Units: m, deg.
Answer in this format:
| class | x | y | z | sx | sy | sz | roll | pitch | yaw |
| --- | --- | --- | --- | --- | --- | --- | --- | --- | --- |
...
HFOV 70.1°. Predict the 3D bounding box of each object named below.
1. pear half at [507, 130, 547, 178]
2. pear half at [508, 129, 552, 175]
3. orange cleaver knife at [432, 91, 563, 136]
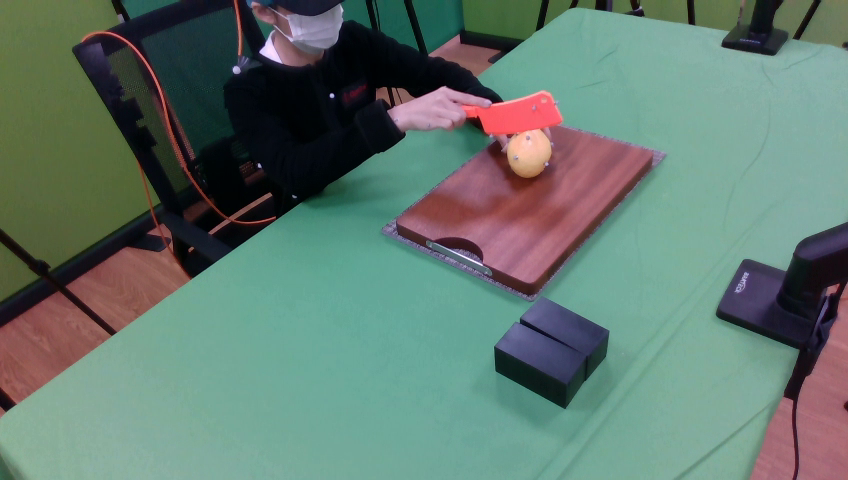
| class | x | y | z | sx | sy | sz | roll | pitch | yaw |
| --- | --- | --- | --- | --- | --- | --- | --- | --- | --- |
| pear half | 0.171 | -0.139 | 1.017 | 0.070 | 0.088 | 0.031 | 11 | 44 | 15 |
| pear half | 0.184 | -0.169 | 1.035 | 0.076 | 0.110 | 0.056 | 12 | 44 | 15 |
| orange cleaver knife | 0.119 | -0.202 | 0.991 | 0.210 | 0.077 | 0.012 | -2 | 48 | 19 |
